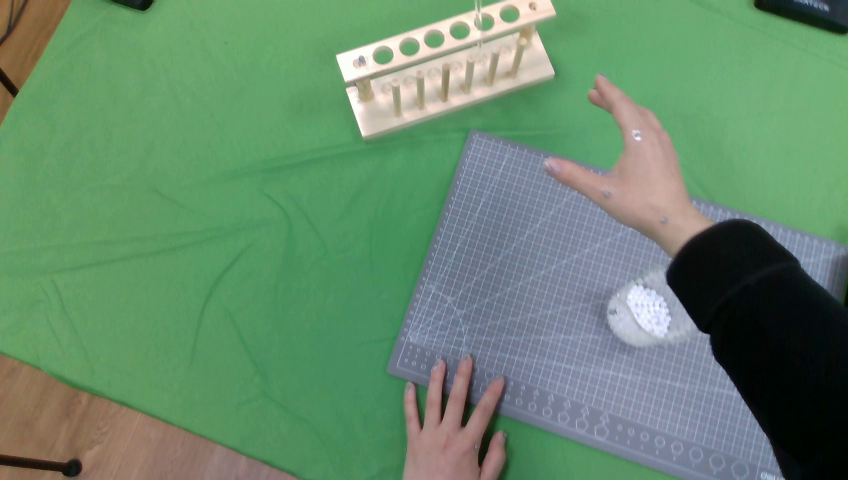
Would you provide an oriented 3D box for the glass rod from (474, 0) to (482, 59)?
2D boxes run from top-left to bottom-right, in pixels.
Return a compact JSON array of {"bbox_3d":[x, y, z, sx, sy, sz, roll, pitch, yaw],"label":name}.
[{"bbox_3d":[0.057,-0.237,0.634,0.008,0.200,0.008,-1,80,6],"label":"glass rod"}]

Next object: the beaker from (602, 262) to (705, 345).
[{"bbox_3d":[0.226,0.069,0.620,0.084,0.101,0.073,7,76,3],"label":"beaker"}]

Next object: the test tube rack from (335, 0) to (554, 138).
[{"bbox_3d":[0.029,-0.198,0.692,0.242,0.085,0.066,-18,77,-4],"label":"test tube rack"}]
